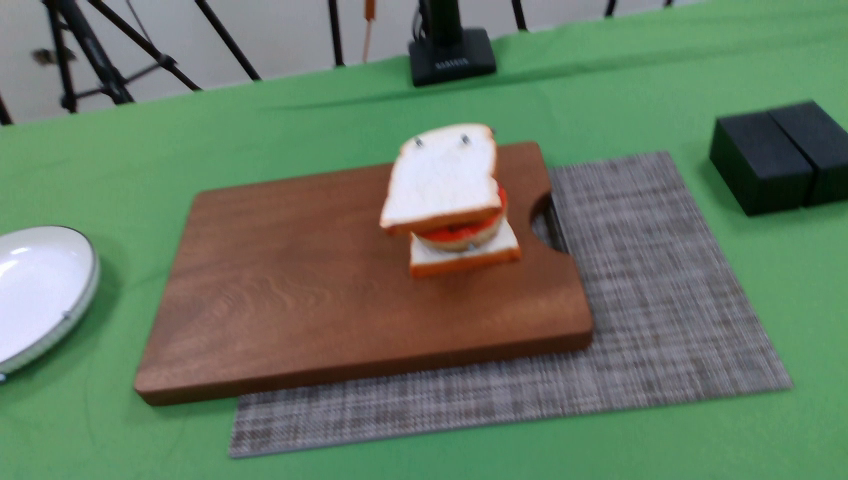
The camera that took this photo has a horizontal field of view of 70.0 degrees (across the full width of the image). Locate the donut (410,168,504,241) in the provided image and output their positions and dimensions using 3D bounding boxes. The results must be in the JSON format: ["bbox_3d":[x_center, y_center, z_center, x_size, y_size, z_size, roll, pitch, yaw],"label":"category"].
[{"bbox_3d":[0.026,-0.041,0.570,0.099,0.049,0.098,-7,46,8],"label":"donut"}]

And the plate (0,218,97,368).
[{"bbox_3d":[-0.444,0.061,0.636,0.209,0.038,0.207,-6,46,6],"label":"plate"}]

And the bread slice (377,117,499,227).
[{"bbox_3d":[0.014,-0.067,0.557,0.107,0.018,0.133,-12,42,13],"label":"bread slice"}]

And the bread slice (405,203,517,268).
[{"bbox_3d":[0.027,-0.031,0.603,0.105,0.019,0.130,-10,46,0],"label":"bread slice"}]
